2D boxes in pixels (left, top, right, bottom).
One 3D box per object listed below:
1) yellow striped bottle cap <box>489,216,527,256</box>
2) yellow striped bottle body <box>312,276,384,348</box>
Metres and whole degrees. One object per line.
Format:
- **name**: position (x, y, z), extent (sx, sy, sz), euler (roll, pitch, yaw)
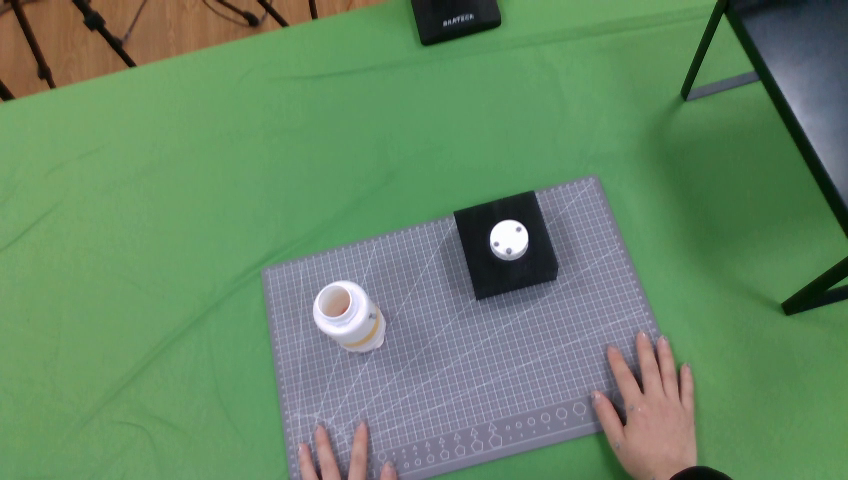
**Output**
- **yellow striped bottle cap**: position (0.097, -0.005, 0.696), extent (0.044, 0.019, 0.044), euler (-2, 72, 6)
- **yellow striped bottle body**: position (-0.087, 0.080, 0.686), extent (0.063, 0.121, 0.062), euler (-3, 69, 7)
